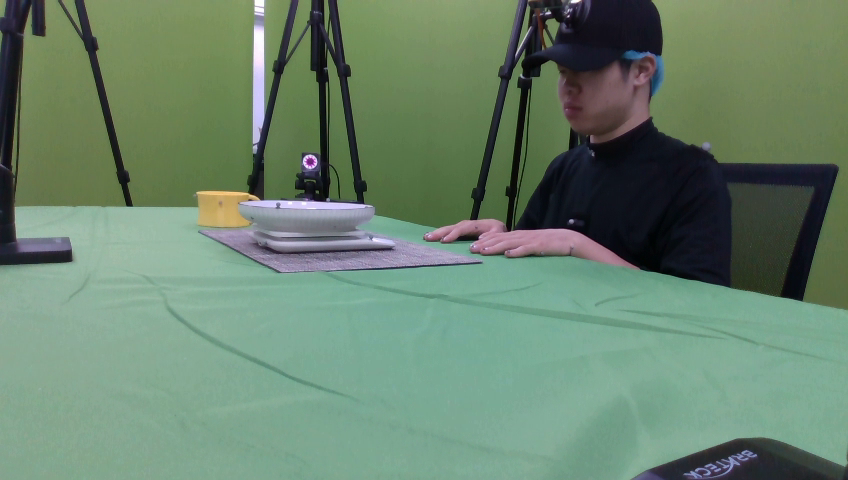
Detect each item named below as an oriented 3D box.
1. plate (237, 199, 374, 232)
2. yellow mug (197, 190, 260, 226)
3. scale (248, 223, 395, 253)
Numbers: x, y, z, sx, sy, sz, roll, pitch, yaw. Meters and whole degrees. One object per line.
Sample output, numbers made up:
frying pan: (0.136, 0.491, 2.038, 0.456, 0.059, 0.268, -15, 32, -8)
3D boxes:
plate: (-0.183, -0.039, 0.941, 0.209, 0.038, 0.209, 3, 7, 0)
yellow mug: (-0.389, -0.065, 1.223, 0.131, 0.064, 0.099, -1, 8, -34)
scale: (-0.162, -0.006, 0.954, 0.202, 0.031, 0.148, -2, 8, -32)
